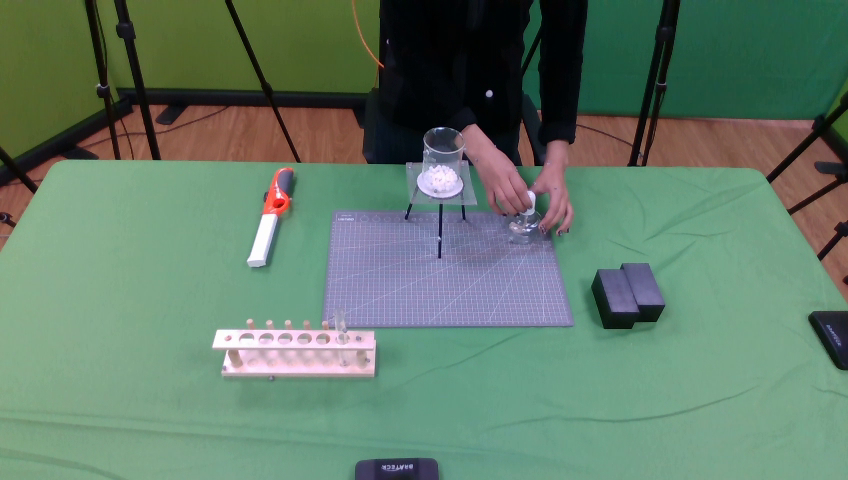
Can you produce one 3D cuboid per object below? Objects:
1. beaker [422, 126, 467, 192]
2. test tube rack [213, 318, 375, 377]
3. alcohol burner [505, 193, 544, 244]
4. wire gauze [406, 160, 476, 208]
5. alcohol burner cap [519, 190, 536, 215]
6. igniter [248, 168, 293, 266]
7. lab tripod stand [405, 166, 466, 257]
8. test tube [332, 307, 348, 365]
[{"bbox_3d":[0.032,-0.146,1.100,0.074,0.101,0.083,-16,50,-20],"label":"beaker"},{"bbox_3d":[-0.202,0.169,0.977,0.242,0.085,0.066,1,46,-3],"label":"test tube rack"},{"bbox_3d":[0.200,-0.050,1.192,0.078,0.119,0.077,2,48,-2],"label":"alcohol burner"},{"bbox_3d":[0.031,-0.107,1.130,0.125,0.011,0.120,1,48,-7],"label":"wire gauze"},{"bbox_3d":[0.200,-0.075,1.169,0.034,0.048,0.033,-3,43,3],"label":"alcohol burner cap"},{"bbox_3d":[-0.307,-0.055,1.225,0.057,0.025,0.275,-3,46,6],"label":"igniter"},{"bbox_3d":[0.030,-0.063,1.180,0.148,0.132,0.147,3,47,-3],"label":"lab tripod stand"},{"bbox_3d":[-0.128,0.151,0.931,0.017,0.151,0.017,1,50,-2],"label":"test tube"}]
